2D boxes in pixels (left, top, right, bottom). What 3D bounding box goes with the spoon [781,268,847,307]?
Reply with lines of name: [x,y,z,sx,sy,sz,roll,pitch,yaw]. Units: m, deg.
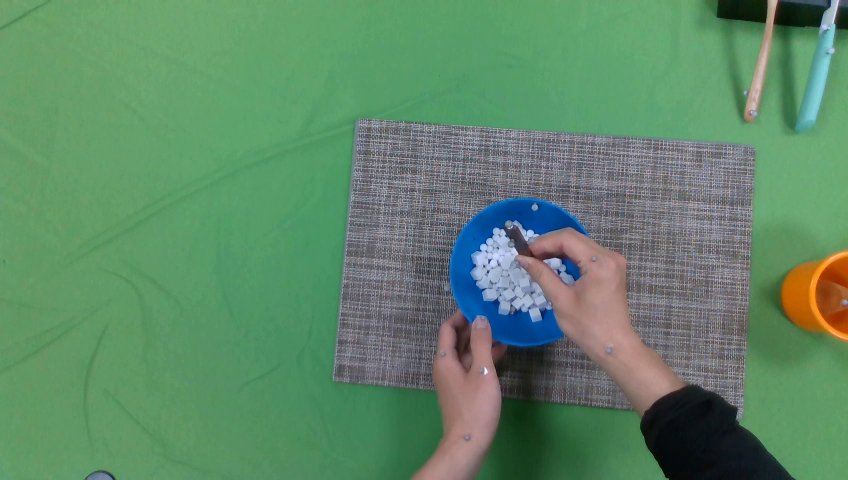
spoon: [0.462,0.053,0.596,0.022,0.192,0.041,9,86,-42]

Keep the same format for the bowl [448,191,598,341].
bowl: [0.100,0.028,0.640,0.151,0.077,0.151,0,86,2]

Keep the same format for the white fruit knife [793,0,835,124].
white fruit knife: [0.427,-0.229,0.647,0.016,0.027,0.208,5,102,0]

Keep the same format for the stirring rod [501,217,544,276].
stirring rod: [0.096,0.010,0.578,0.014,0.177,0.006,12,77,22]

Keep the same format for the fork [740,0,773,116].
fork: [0.365,-0.239,0.651,0.028,0.018,0.208,2,106,-1]
